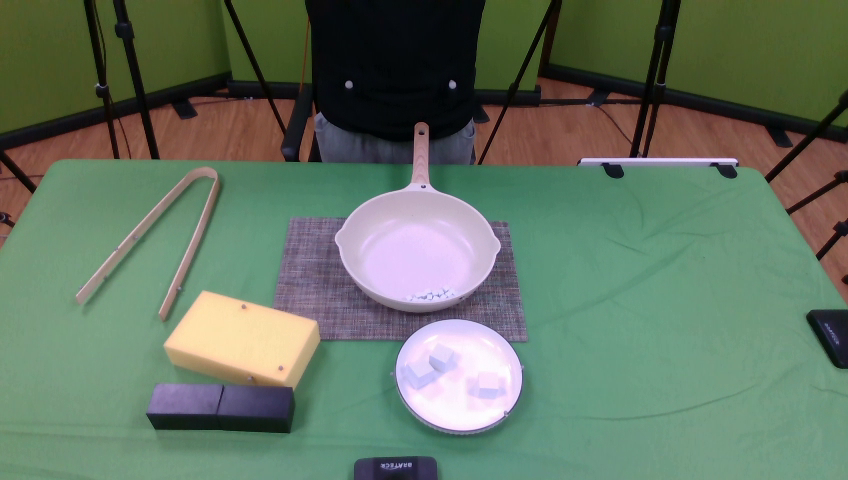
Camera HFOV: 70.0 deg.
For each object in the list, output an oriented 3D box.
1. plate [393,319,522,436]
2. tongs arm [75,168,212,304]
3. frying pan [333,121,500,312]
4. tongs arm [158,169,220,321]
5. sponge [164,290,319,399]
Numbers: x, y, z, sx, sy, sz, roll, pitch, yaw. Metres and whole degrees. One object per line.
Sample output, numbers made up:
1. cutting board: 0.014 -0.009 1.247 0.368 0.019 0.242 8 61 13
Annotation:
1. plate: 0.053 0.222 0.979 0.208 0.039 0.206 3 46 -2
2. tongs arm: -0.526 -0.021 1.167 0.051 0.026 0.383 13 45 7
3. frying pan: -0.011 -0.063 1.195 0.307 0.103 0.485 4 55 -2
4. tongs arm: -0.446 -0.005 1.164 0.028 0.028 0.385 1 46 0
5. sponge: -0.292 0.167 0.986 0.206 0.061 0.117 14 50 9
